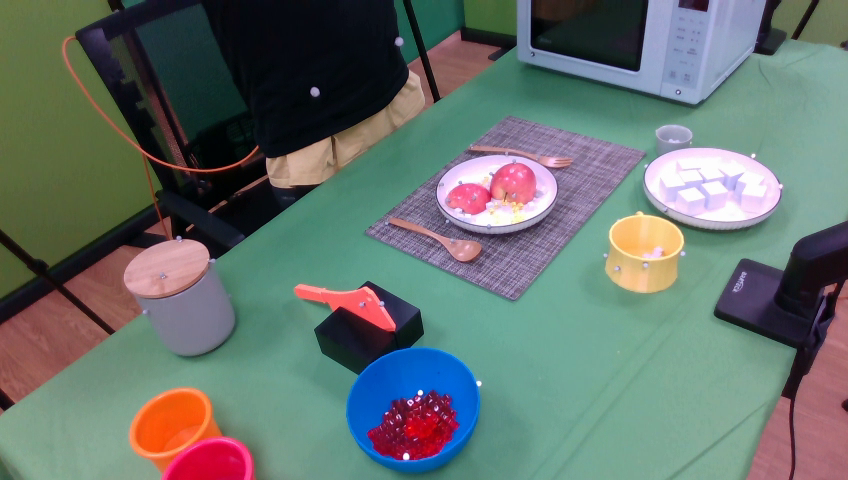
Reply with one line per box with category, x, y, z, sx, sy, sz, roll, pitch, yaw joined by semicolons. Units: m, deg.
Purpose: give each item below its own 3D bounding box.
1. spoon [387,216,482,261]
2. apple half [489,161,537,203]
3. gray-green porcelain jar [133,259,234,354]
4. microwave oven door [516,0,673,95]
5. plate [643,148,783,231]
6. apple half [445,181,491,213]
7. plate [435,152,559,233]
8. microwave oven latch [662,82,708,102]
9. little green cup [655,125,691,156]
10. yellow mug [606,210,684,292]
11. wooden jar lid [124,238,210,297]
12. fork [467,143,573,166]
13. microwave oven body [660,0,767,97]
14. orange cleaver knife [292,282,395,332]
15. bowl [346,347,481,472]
spoon;0.012;-0.009;0.973;0.192;0.022;0.041;25;70;31
apple half;0.154;-0.106;1.030;0.080;0.053;0.075;22;46;31
gray-green porcelain jar;-0.328;0.087;0.836;0.106;0.127;0.105;-4;41;4
microwave oven door;0.344;-0.458;1.256;0.353;0.245;0.039;26;51;33
plate;0.464;-0.080;0.986;0.207;0.039;0.206;-4;41;4
apple half;0.077;-0.083;1.029;0.081;0.033;0.081;-2;41;2
plate;0.123;-0.078;1.026;0.209;0.038;0.208;-4;40;4
microwave oven latch;0.517;-0.298;1.203;0.078;0.029;0.030;28;53;35
little green cup;0.450;-0.178;1.099;0.061;0.039;0.061;-5;40;4
yellow mug;0.318;0.007;0.883;0.100;0.064;0.130;0;41;8
wooden jar lid;-0.335;0.039;0.794;0.108;0.021;0.108;-2;40;2
fork;0.175;-0.163;1.131;0.206;0.019;0.028;14;59;21
microwave oven body;0.473;-0.517;1.314;0.438;0.261;0.327;26;51;34
orange cleaver knife;-0.115;0.091;0.835;0.209;0.077;0.012;2;32;48
bowl;-0.008;0.205;0.691;0.151;0.077;0.150;-4;40;4
